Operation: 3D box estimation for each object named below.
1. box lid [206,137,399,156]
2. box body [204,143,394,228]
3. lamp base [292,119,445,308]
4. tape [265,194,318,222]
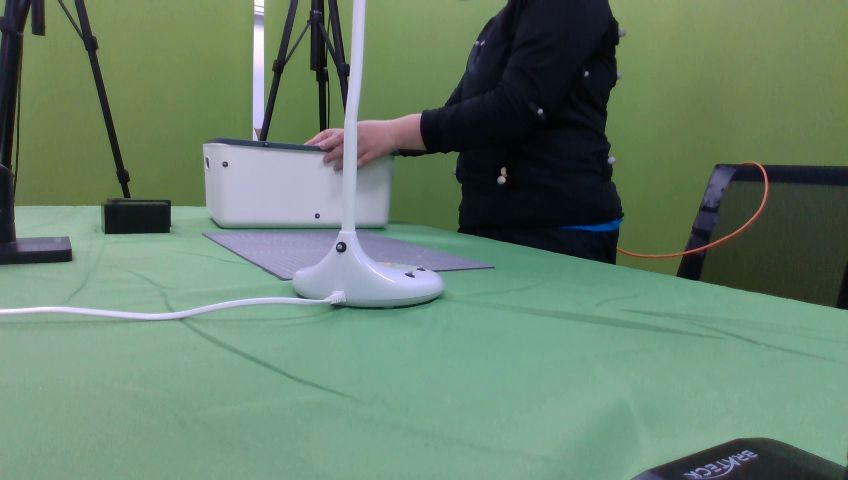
[{"bbox_3d":[-0.264,-0.195,1.284,0.373,0.015,0.262,0,7,-25],"label":"box lid"},{"bbox_3d":[-0.271,-0.117,1.291,0.366,0.160,0.253,-1,8,-25],"label":"box body"},{"bbox_3d":[-0.056,-0.030,0.616,0.160,0.180,0.179,4,10,8],"label":"lamp base"},{"bbox_3d":[-0.284,-0.069,1.298,0.117,0.052,0.117,3,7,0],"label":"tape"}]
